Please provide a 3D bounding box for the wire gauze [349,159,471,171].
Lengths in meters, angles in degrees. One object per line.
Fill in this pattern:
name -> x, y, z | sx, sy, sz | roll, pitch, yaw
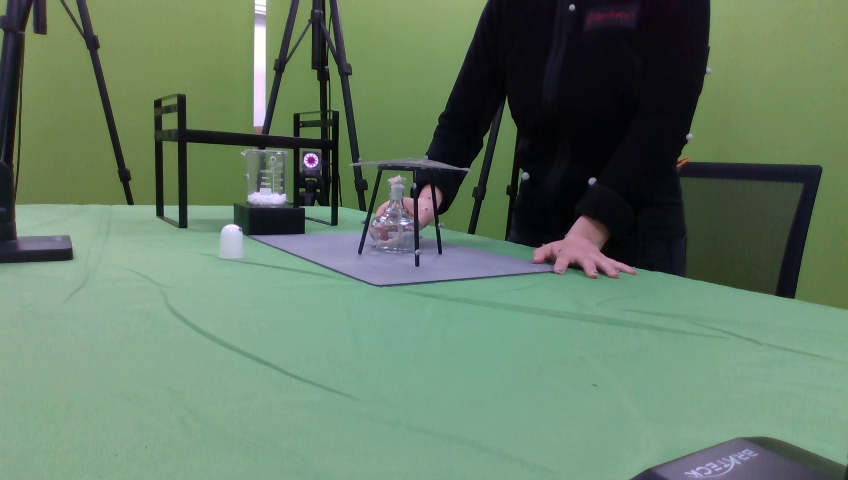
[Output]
wire gauze -> -0.019, -0.106, 0.847 | 0.121, 0.011, 0.126 | 8, 7, 42

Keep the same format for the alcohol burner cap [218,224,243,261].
alcohol burner cap -> -0.263, 0.002, 0.824 | 0.034, 0.048, 0.034 | 5, 9, 0

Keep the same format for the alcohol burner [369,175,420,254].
alcohol burner -> -0.044, -0.039, 0.920 | 0.078, 0.119, 0.078 | 2, 9, 0

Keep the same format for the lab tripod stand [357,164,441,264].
lab tripod stand -> -0.023, -0.041, 0.859 | 0.148, 0.131, 0.148 | 2, 5, 0

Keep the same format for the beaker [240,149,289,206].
beaker -> -0.286, -0.112, 1.086 | 0.084, 0.100, 0.073 | -1, 9, -23
